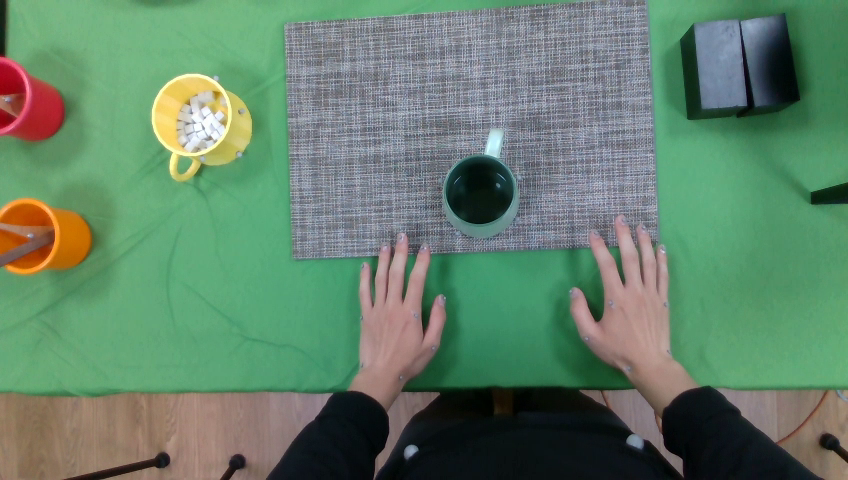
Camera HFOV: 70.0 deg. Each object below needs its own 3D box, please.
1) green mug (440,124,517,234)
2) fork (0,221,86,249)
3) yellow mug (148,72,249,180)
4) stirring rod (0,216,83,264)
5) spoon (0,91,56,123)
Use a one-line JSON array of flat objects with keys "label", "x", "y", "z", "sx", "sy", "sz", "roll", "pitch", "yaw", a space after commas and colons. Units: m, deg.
[{"label": "green mug", "x": 0.066, "y": -0.071, "z": 0.695, "sx": 0.092, "sy": 0.105, "sz": 0.125, "roll": 14, "pitch": 89, "yaw": 6}, {"label": "fork", "x": -0.520, "y": -0.021, "z": 0.725, "sx": 0.209, "sy": 0.018, "sz": 0.028, "roll": 17, "pitch": 85, "yaw": -38}, {"label": "yellow mug", "x": -0.283, "y": -0.135, "z": 0.750, "sx": 0.100, "sy": 0.064, "sz": 0.131, "roll": 23, "pitch": 91, "yaw": 5}, {"label": "stirring rod", "x": -0.497, "y": 0.015, "z": 0.727, "sx": 0.014, "sy": 0.006, "sz": 0.176, "roll": 49, "pitch": 50, "yaw": 4}, {"label": "spoon", "x": -0.562, "y": -0.179, "z": 0.736, "sx": 0.195, "sy": 0.021, "sz": 0.041, "roll": 7, "pitch": 87, "yaw": -38}]
